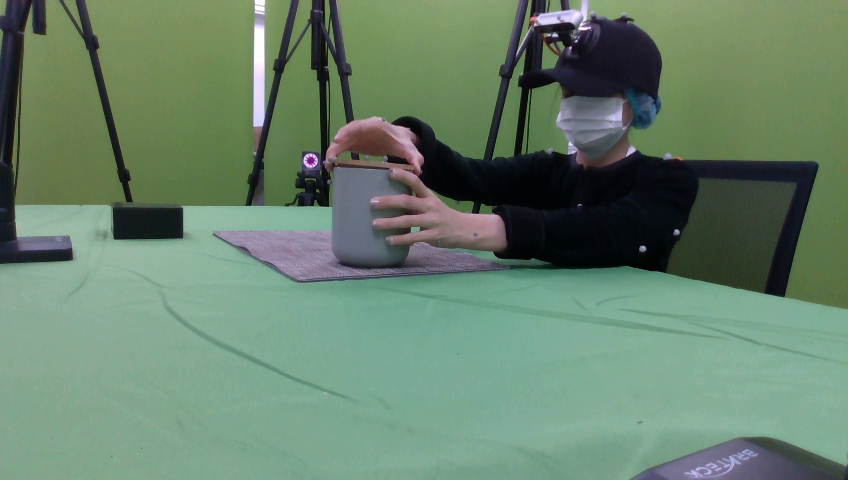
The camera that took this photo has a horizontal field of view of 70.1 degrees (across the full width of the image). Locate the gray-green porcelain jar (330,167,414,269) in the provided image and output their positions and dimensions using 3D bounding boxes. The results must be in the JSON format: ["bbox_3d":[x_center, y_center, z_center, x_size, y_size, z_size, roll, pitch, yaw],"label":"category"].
[{"bbox_3d":[-0.069,-0.030,0.791,0.106,0.126,0.106,3,7,0],"label":"gray-green porcelain jar"}]

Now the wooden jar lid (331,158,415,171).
[{"bbox_3d":[-0.066,-0.092,0.783,0.108,0.020,0.108,5,8,0],"label":"wooden jar lid"}]
